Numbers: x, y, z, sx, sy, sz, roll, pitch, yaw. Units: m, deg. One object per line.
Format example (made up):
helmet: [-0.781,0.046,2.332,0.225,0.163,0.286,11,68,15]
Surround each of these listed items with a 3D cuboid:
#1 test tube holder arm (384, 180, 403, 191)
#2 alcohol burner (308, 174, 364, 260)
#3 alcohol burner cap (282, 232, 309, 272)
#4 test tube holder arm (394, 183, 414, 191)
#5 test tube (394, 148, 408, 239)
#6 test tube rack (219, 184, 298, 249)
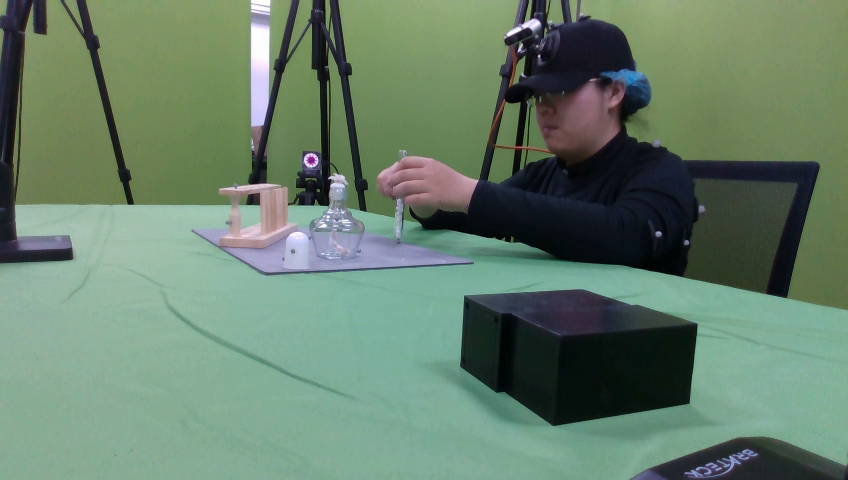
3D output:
test tube holder arm: [-0.055,-0.096,1.071,0.013,0.015,0.178,16,0,-12]
alcohol burner: [-0.121,-0.033,0.841,0.078,0.119,0.078,3,5,0]
alcohol burner cap: [-0.157,0.014,0.740,0.034,0.048,0.034,3,6,0]
test tube holder arm: [-0.038,-0.091,1.029,0.010,0.015,0.087,15,0,-23]
test tube: [-0.038,-0.077,1.006,0.017,0.150,0.017,4,6,0]
test tube rack: [-0.266,-0.046,1.001,0.067,0.085,0.242,3,7,0]
